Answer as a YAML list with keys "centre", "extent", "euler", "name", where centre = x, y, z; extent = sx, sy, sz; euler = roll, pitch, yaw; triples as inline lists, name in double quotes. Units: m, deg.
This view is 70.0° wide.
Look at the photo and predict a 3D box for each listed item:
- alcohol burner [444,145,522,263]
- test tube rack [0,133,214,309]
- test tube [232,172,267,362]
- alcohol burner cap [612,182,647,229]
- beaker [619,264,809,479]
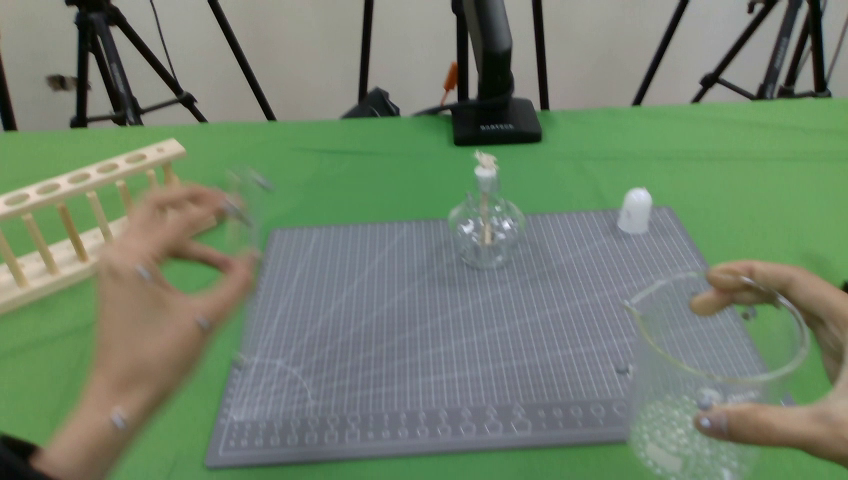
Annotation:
- centre: [0.058, -0.037, 0.594]
  extent: [0.078, 0.120, 0.077]
  euler: [-3, 37, 2]
  name: "alcohol burner"
- centre: [-0.353, -0.022, 0.624]
  extent: [0.242, 0.086, 0.066]
  euler: [-28, 45, -29]
  name: "test tube rack"
- centre: [-0.114, 0.024, 0.391]
  extent: [0.017, 0.151, 0.017]
  euler: [10, 34, -6]
  name: "test tube"
- centre: [0.221, -0.040, 0.647]
  extent: [0.034, 0.048, 0.033]
  euler: [-1, 38, 1]
  name: "alcohol burner cap"
- centre: [0.140, 0.073, 0.315]
  extent: [0.083, 0.101, 0.074]
  euler: [16, 44, 28]
  name: "beaker"
